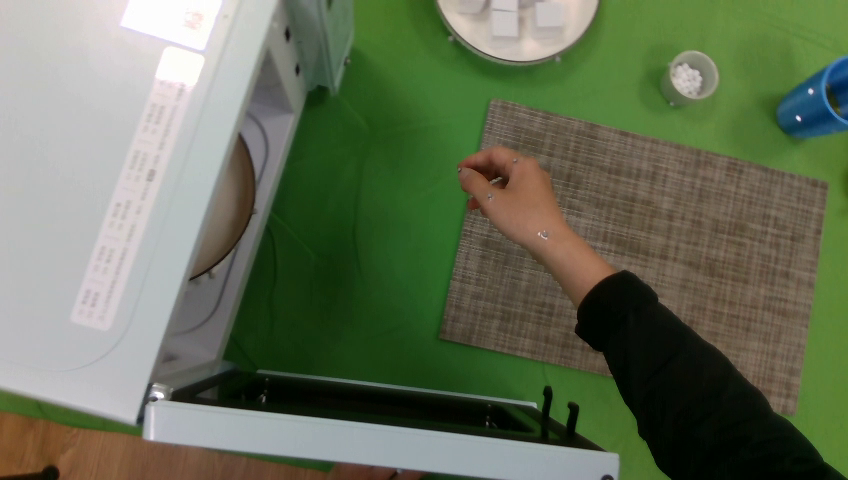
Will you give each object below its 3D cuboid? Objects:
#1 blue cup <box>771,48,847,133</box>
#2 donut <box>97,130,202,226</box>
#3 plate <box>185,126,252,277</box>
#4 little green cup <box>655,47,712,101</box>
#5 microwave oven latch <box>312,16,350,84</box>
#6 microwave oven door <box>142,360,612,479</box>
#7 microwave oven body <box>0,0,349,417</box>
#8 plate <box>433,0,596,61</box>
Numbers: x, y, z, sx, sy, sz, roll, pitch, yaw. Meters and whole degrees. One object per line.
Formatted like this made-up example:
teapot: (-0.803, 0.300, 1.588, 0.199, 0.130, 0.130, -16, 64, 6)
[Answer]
blue cup: (0.481, -0.173, 0.736, 0.093, 0.100, 0.092, 0, 86, -6)
donut: (-0.275, -0.062, 0.609, 0.099, 0.048, 0.099, 0, 86, -4)
plate: (-0.281, -0.057, 0.619, 0.209, 0.038, 0.208, 1, 85, -6)
little green cup: (0.321, -0.205, 0.755, 0.061, 0.038, 0.061, 1, 84, -5)
microwave oven latch: (-0.107, -0.223, 0.696, 0.030, 0.029, 0.079, 18, 84, -4)
microwave oven door: (-0.039, 0.162, 0.565, 0.356, 0.244, 0.039, 8, 83, -5)
microwave oven body: (-0.289, -0.104, 0.570, 0.326, 0.260, 0.440, 16, 84, -4)
plate: (0.108, -0.317, 0.745, 0.208, 0.039, 0.207, 1, 84, -6)
